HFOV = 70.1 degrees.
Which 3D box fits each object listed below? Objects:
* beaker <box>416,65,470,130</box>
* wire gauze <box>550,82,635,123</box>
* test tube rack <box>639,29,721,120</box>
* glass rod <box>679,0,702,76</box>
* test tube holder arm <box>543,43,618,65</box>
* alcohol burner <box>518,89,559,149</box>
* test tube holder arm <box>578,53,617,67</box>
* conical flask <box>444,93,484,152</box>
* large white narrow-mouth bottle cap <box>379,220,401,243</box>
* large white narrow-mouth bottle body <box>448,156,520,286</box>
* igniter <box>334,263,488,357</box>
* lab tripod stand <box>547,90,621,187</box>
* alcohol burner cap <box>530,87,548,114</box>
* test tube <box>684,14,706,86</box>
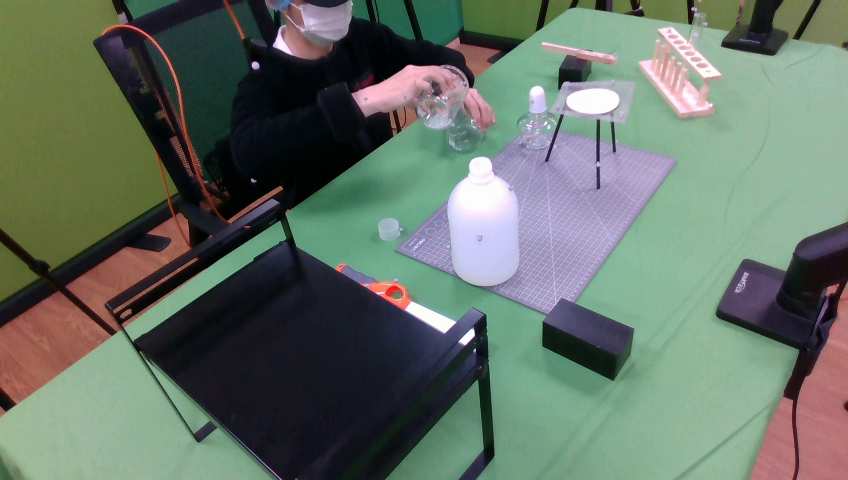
[{"bbox_3d":[0.033,-0.242,1.044,0.073,0.084,0.100,2,42,22],"label":"beaker"},{"bbox_3d":[0.285,-0.236,1.020,0.124,0.011,0.121,10,44,22],"label":"wire gauze"},{"bbox_3d":[0.527,-0.351,1.262,0.067,0.085,0.241,-8,40,1],"label":"test tube rack"},{"bbox_3d":[0.543,-0.417,1.233,0.008,0.200,0.008,1,39,0],"label":"glass rod"},{"bbox_3d":[0.345,-0.413,1.341,0.177,0.015,0.013,25,50,32],"label":"test tube holder arm"},{"bbox_3d":[0.218,-0.235,1.149,0.078,0.119,0.077,-5,43,5],"label":"alcohol burner"},{"bbox_3d":[0.376,-0.393,1.314,0.087,0.015,0.010,26,51,32],"label":"test tube holder arm"},{"bbox_3d":[0.070,-0.228,1.153,0.075,0.122,0.075,-6,66,13],"label":"conical flask"},{"bbox_3d":[-0.057,-0.015,1.011,0.038,0.024,0.037,-4,40,4],"label":"large white narrow-mouth bottle cap"},{"bbox_3d":[0.086,-0.032,0.869,0.102,0.195,0.101,-4,40,4],"label":"large white narrow-mouth bottle body"},{"bbox_3d":[-0.030,0.095,0.872,0.274,0.025,0.057,23,60,31],"label":"igniter"},{"bbox_3d":[0.289,-0.184,1.062,0.148,0.132,0.147,-6,41,6],"label":"lab tripod stand"},{"bbox_3d":[0.212,-0.262,1.126,0.034,0.048,0.033,-9,36,7],"label":"alcohol burner cap"},{"bbox_3d":[0.540,-0.378,1.215,0.017,0.151,0.017,-2,44,3],"label":"test tube"}]
